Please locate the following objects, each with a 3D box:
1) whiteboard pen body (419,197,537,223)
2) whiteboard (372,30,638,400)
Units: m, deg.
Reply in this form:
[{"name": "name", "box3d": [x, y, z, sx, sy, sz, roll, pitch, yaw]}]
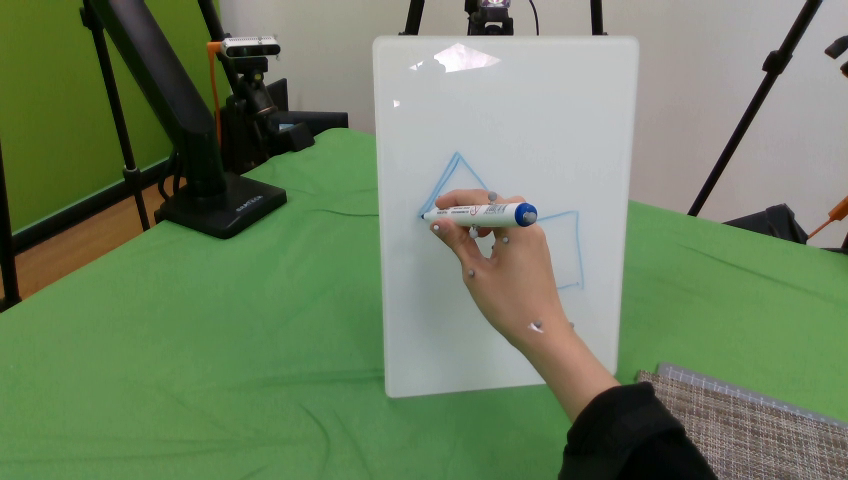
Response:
[{"name": "whiteboard pen body", "box3d": [0.031, -0.021, 0.432, 0.017, 0.017, 0.140, -18, 10, -28]}, {"name": "whiteboard", "box3d": [0.060, -0.031, 0.572, 0.218, 0.306, 0.143, -3, 15, -8]}]
